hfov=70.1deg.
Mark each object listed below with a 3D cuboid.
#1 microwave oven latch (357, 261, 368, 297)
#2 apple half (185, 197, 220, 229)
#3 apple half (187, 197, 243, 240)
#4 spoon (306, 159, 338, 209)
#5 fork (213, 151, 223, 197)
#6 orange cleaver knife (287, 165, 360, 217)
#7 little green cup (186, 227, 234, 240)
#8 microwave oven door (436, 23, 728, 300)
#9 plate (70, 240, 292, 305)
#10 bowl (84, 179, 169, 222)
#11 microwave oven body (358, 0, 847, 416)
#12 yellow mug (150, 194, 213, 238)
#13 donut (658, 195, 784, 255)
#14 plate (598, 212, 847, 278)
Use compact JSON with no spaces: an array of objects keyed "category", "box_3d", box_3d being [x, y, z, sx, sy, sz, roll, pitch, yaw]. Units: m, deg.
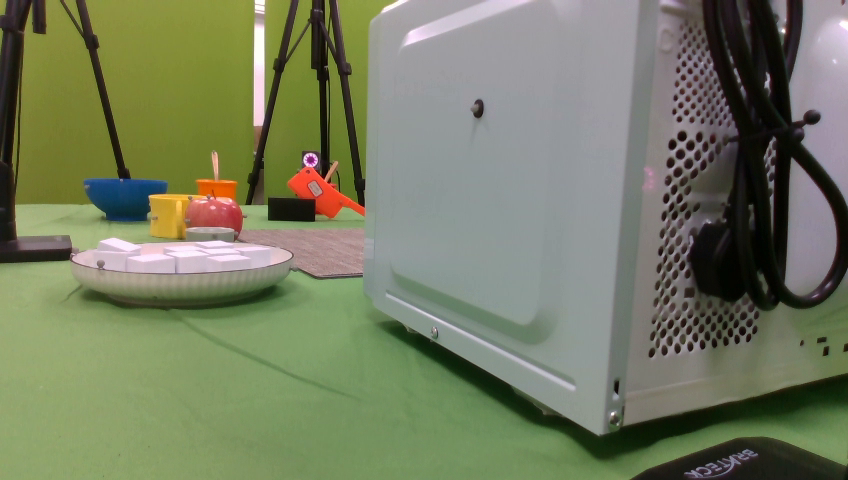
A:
[{"category":"microwave oven latch","box_3d":[-0.019,0.033,0.531,0.079,0.029,0.030,-1,7,-27]},{"category":"apple half","box_3d":[-0.338,-0.031,0.927,0.032,0.081,0.081,12,12,31]},{"category":"apple half","box_3d":[-0.305,-0.026,0.907,0.053,0.074,0.081,12,8,32]},{"category":"spoon","box_3d":[-0.257,-0.146,1.567,0.041,0.022,0.193,1,51,20]},{"category":"fork","box_3d":[-0.493,-0.143,1.442,0.028,0.018,0.206,-3,52,-18]},{"category":"orange cleaver knife","box_3d":[-0.210,-0.093,1.382,0.212,0.077,0.012,33,1,-15]},{"category":"little green cup","box_3d":[-0.285,0.005,0.805,0.061,0.038,0.061,2,8,0]},{"category":"microwave oven door","box_3d":[0.180,-0.072,0.621,0.358,0.243,0.039,-2,9,-29]},{"category":"plate","box_3d":[-0.242,0.031,0.618,0.208,0.039,0.207,2,8,0]},{"category":"bowl","box_3d":[-0.584,-0.078,1.194,0.151,0.077,0.151,3,8,0]},{"category":"microwave oven body","box_3d":[0.211,-0.047,0.474,0.444,0.260,0.324,-1,7,-28]},{"category":"yellow mug","box_3d":[-0.401,-0.040,1.003,0.100,0.064,0.130,-1,9,-20]},{"category":"donut","box_3d":[0.252,-0.012,0.517,0.099,0.048,0.099,4,8,0]},{"category":"plate","box_3d":[0.255,0.001,0.519,0.209,0.038,0.209,2,7,0]}]
